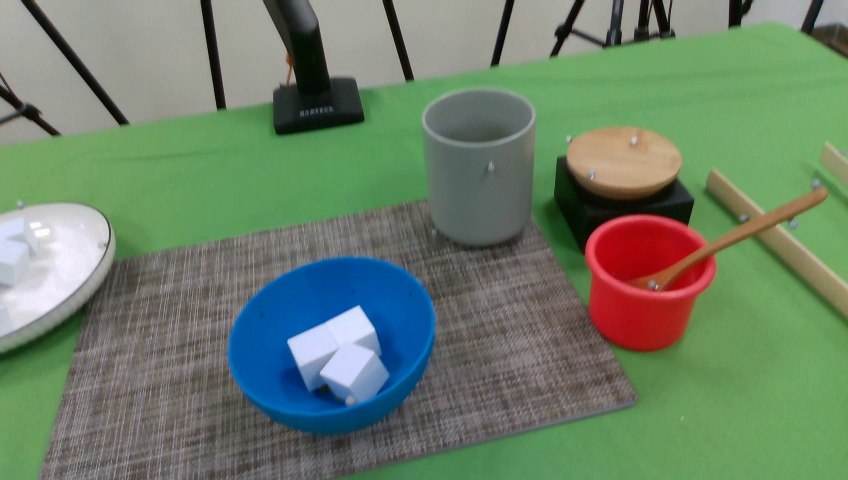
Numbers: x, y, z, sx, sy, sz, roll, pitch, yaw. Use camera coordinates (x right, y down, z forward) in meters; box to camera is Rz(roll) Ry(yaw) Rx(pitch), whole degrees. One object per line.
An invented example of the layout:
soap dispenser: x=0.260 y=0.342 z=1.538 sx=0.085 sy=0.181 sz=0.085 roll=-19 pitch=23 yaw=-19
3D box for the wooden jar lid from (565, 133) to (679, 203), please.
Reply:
wooden jar lid: x=0.195 y=-0.071 z=0.601 sx=0.108 sy=0.021 sz=0.107 roll=-4 pitch=40 yaw=4

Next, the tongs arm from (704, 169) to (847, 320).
tongs arm: x=0.362 y=0.050 z=0.507 sx=0.028 sy=0.028 sz=0.383 roll=-12 pitch=41 yaw=-13

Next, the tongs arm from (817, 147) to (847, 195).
tongs arm: x=0.433 y=0.036 z=0.513 sx=0.051 sy=0.027 sz=0.380 roll=-7 pitch=42 yaw=-3

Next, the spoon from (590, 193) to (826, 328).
spoon: x=0.215 y=0.018 z=0.476 sx=0.194 sy=0.022 sz=0.041 roll=-39 pitch=28 yaw=32

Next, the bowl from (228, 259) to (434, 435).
bowl: x=-0.064 y=0.093 z=0.464 sx=0.151 sy=0.077 sz=0.150 roll=-3 pitch=41 yaw=3

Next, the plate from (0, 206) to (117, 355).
plate: x=-0.406 y=0.043 z=0.594 sx=0.209 sy=0.038 sz=0.207 roll=-4 pitch=41 yaw=4

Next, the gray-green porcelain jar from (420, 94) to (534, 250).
gray-green porcelain jar: x=0.053 y=-0.062 z=0.595 sx=0.106 sy=0.128 sz=0.105 roll=-3 pitch=41 yaw=3
